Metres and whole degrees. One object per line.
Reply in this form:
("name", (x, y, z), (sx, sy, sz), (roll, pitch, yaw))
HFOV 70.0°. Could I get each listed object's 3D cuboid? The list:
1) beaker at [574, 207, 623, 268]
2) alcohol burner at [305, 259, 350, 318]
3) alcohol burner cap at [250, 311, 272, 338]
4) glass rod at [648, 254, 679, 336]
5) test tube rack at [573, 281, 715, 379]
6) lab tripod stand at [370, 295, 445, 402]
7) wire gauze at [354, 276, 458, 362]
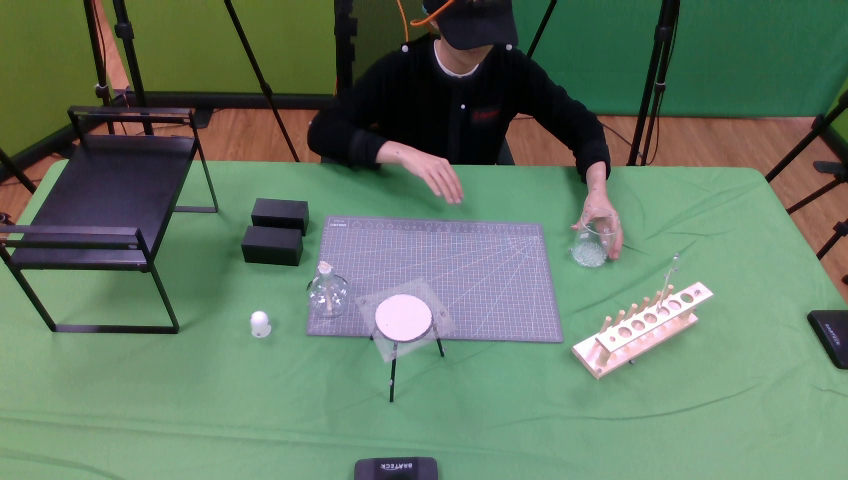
("beaker", (0.334, -0.003, 1.165), (0.084, 0.101, 0.073), (-18, 50, -21))
("alcohol burner", (-0.166, 0.078, 1.040), (0.078, 0.120, 0.077), (1, 44, -1))
("alcohol burner cap", (-0.278, 0.141, 1.026), (0.034, 0.048, 0.033), (1, 46, -1))
("glass rod", (0.391, 0.094, 0.991), (0.008, 0.201, 0.008), (-2, 44, 2))
("test tube rack", (0.378, 0.140, 1.038), (0.242, 0.085, 0.066), (-22, 51, -22))
("lab tripod stand", (-0.036, 0.160, 0.959), (0.148, 0.132, 0.147), (1, 46, 0))
("wire gauze", (-0.029, 0.113, 0.912), (0.121, 0.011, 0.124), (-18, 49, -19))
